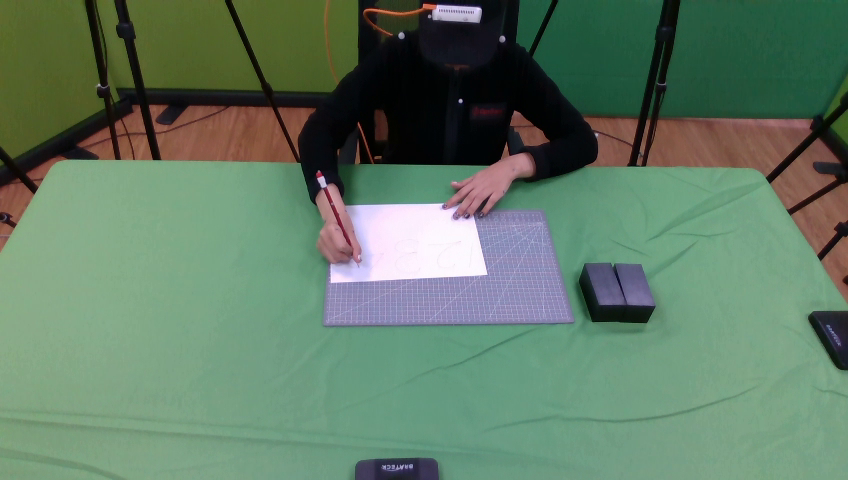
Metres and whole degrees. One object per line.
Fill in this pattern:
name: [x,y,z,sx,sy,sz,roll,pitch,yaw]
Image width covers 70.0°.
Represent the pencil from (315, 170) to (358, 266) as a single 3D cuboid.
pencil: [-0.160,-0.038,1.125,0.012,0.194,0.012,-20,15,6]
